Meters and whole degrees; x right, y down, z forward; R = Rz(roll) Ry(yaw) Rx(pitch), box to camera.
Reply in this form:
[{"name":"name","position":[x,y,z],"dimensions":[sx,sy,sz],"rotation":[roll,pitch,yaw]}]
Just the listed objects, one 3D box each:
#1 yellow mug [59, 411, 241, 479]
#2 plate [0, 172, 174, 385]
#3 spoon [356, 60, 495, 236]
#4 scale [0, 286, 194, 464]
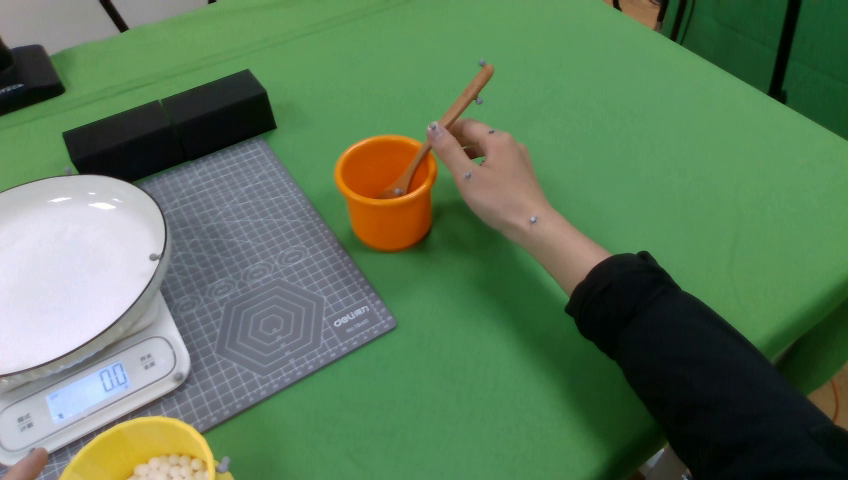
[{"name":"yellow mug","position":[-0.160,0.174,0.390],"dimensions":[0.130,0.064,0.099],"rotation":[14,53,12]},{"name":"plate","position":[-0.308,0.028,0.493],"dimensions":[0.209,0.038,0.207],"rotation":[0,50,1]},{"name":"spoon","position":[0.001,-0.080,0.544],"dimensions":[0.022,0.194,0.041],"rotation":[9,34,-54]},{"name":"scale","position":[-0.292,0.067,0.502],"dimensions":[0.149,0.032,0.199],"rotation":[-27,55,-19]}]
